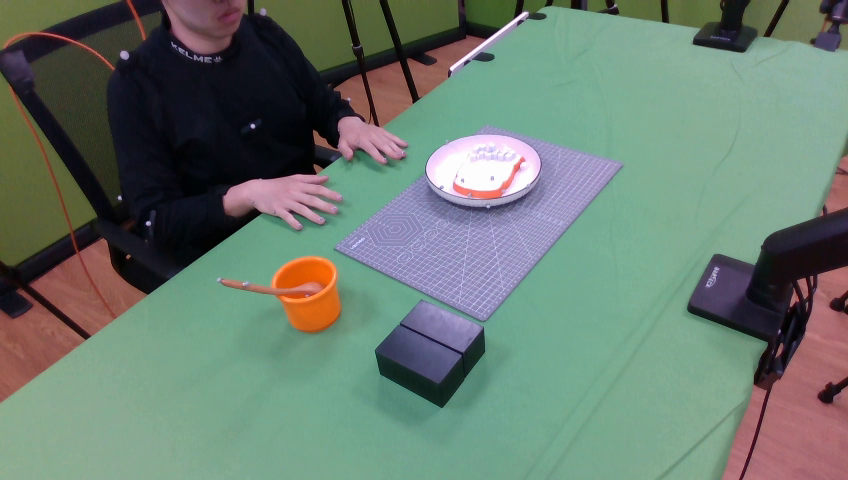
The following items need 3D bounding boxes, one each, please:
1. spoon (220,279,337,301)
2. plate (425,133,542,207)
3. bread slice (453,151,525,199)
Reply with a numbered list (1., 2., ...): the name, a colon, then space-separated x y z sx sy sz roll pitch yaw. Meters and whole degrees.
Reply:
1. spoon: -0.189 0.068 0.813 0.041 0.021 0.195 32 14 36
2. plate: 0.106 -0.121 1.079 0.209 0.038 0.208 -4 41 4
3. bread slice: 0.112 -0.118 1.079 0.104 0.019 0.131 11 42 21
